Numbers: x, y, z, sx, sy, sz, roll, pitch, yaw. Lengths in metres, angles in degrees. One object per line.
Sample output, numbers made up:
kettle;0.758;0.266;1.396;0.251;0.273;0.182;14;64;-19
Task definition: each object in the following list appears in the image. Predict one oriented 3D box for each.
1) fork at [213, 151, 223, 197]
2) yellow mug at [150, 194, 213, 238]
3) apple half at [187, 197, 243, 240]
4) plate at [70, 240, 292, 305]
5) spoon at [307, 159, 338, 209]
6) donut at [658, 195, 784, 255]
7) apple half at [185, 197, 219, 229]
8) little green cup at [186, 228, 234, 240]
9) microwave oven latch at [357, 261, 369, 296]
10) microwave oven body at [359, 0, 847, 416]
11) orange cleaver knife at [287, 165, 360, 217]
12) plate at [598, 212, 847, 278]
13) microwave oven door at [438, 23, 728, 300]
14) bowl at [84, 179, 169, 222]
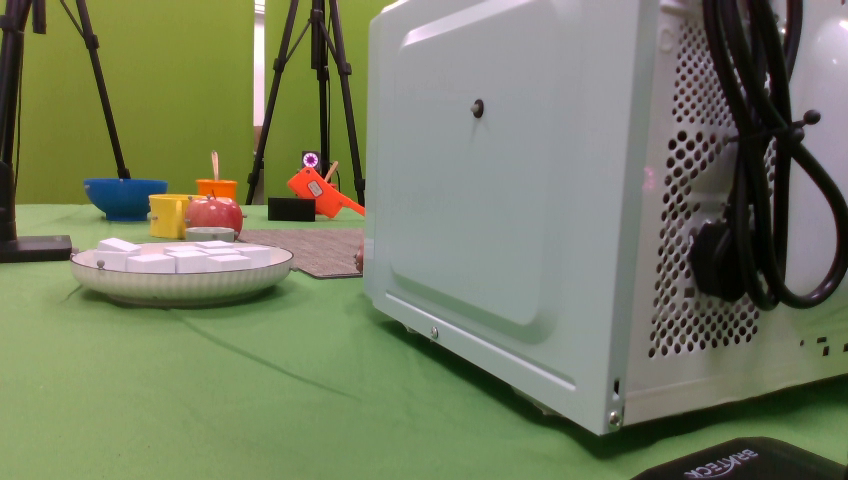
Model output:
fork;-0.493;-0.143;1.442;0.028;0.018;0.206;-3;52;-18
yellow mug;-0.401;-0.040;1.003;0.100;0.064;0.130;-1;9;-20
apple half;-0.305;-0.026;0.907;0.053;0.074;0.081;12;8;31
plate;-0.242;0.031;0.618;0.208;0.039;0.207;2;8;0
spoon;-0.257;-0.147;1.567;0.041;0.022;0.193;1;51;20
donut;0.252;-0.012;0.517;0.099;0.048;0.099;5;8;0
apple half;-0.338;-0.031;0.927;0.032;0.081;0.081;12;12;31
little green cup;-0.284;0.005;0.805;0.061;0.038;0.061;2;8;0
microwave oven latch;-0.019;0.033;0.532;0.079;0.029;0.030;-1;8;-30
microwave oven body;0.211;-0.047;0.474;0.444;0.260;0.324;-1;7;-28
orange cleaver knife;-0.211;-0.092;1.382;0.212;0.077;0.012;34;1;-15
plate;0.255;0.002;0.519;0.209;0.038;0.209;2;7;0
microwave oven door;0.181;-0.072;0.621;0.358;0.243;0.039;-2;8;-29
bowl;-0.584;-0.078;1.194;0.151;0.077;0.151;3;8;0
